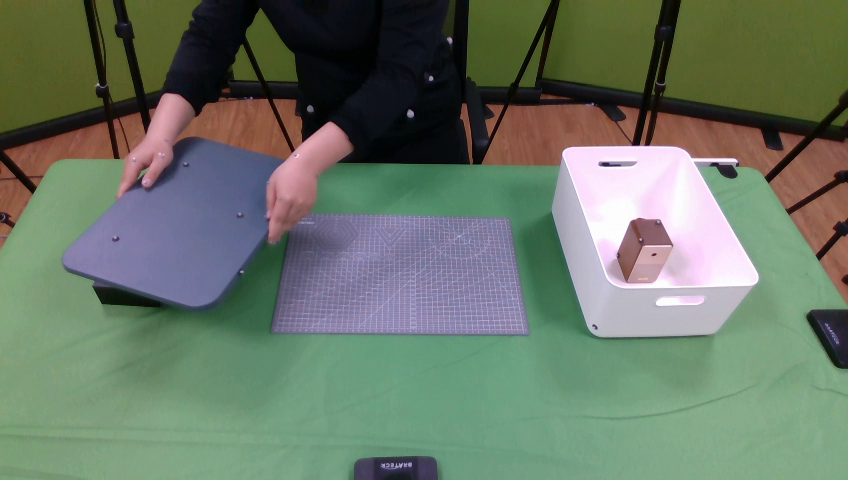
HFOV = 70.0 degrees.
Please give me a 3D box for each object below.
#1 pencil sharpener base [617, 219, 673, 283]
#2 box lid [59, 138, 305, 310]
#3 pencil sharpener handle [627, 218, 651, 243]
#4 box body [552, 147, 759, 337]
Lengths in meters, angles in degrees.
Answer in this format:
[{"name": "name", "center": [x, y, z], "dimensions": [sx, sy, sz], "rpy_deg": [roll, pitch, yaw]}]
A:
[{"name": "pencil sharpener base", "center": [0.412, 0.020, 1.140], "dimensions": [0.061, 0.107, 0.076], "rpy_deg": [-1, 45, -4]}, {"name": "box lid", "center": [-0.389, -0.045, 1.022], "dimensions": [0.263, 0.015, 0.370], "rpy_deg": [15, 45, 8]}, {"name": "pencil sharpener handle", "center": [0.409, -0.025, 1.167], "dimensions": [0.036, 0.068, 0.030], "rpy_deg": [3, 45, -7]}, {"name": "box body", "center": [0.401, -0.001, 1.131], "dimensions": [0.254, 0.161, 0.361], "rpy_deg": [-1, 46, -5]}]
